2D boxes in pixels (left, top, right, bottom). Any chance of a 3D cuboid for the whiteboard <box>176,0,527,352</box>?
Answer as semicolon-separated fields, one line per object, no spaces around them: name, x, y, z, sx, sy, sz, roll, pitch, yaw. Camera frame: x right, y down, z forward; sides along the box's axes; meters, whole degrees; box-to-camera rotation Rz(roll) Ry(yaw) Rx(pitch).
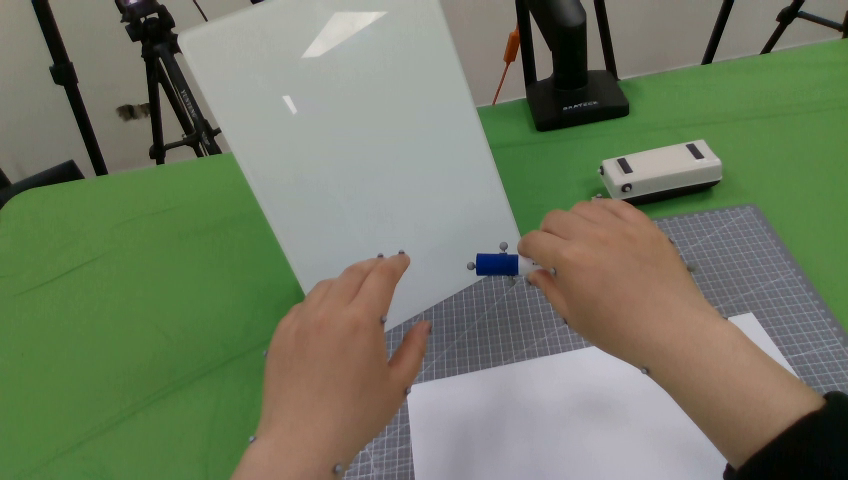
whiteboard;-0.065;-0.091;0.592;0.217;0.307;0.142;-27;21;-14

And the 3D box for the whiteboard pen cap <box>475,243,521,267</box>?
whiteboard pen cap;0.054;0.011;0.446;0.033;0.018;0.018;1;42;7

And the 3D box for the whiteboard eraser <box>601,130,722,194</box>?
whiteboard eraser;0.250;-0.080;0.643;0.112;0.042;0.055;-10;42;4

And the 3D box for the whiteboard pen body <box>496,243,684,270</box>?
whiteboard pen body;0.112;0.013;0.436;0.140;0.017;0.017;-2;41;9
